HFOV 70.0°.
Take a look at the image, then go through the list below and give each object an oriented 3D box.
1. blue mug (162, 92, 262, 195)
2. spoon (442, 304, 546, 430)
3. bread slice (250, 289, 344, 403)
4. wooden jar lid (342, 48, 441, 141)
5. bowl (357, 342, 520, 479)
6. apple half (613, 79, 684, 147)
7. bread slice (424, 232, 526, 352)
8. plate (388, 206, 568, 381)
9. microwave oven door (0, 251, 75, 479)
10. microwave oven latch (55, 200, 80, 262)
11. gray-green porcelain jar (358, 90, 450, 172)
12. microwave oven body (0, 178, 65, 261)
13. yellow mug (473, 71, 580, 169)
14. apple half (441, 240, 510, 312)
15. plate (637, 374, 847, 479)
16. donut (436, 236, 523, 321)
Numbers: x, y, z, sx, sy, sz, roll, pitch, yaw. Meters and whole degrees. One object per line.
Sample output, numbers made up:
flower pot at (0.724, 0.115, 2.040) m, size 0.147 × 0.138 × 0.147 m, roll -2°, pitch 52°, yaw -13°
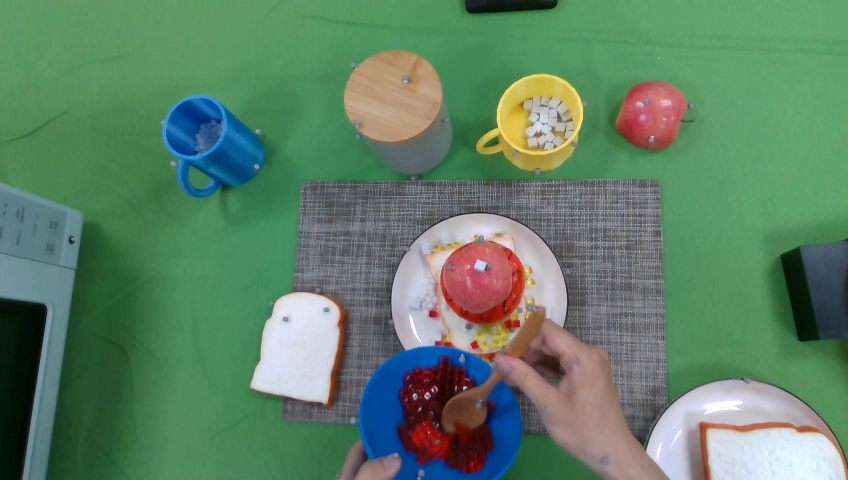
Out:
blue mug at (-0.271, -0.111, 0.763) m, size 0.082 × 0.106 × 0.116 m, roll 21°, pitch 83°, yaw 12°
spoon at (0.063, 0.118, 0.536) m, size 0.041 × 0.195 × 0.021 m, roll 25°, pitch 45°, yaw -1°
bread slice at (-0.154, 0.126, 0.745) m, size 0.104 × 0.019 × 0.131 m, roll 8°, pitch 82°, yaw 9°
wooden jar lid at (-0.035, -0.157, 0.661) m, size 0.108 × 0.021 × 0.108 m, roll -1°, pitch 77°, yaw 6°
bowl at (0.009, 0.182, 0.577) m, size 0.151 × 0.077 × 0.150 m, roll 5°, pitch 46°, yaw -5°
apple half at (0.269, -0.158, 0.721) m, size 0.074 × 0.053 × 0.080 m, roll 23°, pitch 84°, yaw 15°
bread slice at (0.068, 0.064, 0.715) m, size 0.107 × 0.018 × 0.133 m, roll -16°, pitch 77°, yaw 6°
plate at (0.062, 0.065, 0.713) m, size 0.207 × 0.039 × 0.207 m, roll -1°, pitch 80°, yaw 8°
microwave oven door at (-0.499, 0.184, 0.653) m, size 0.039 × 0.245 × 0.354 m, roll 1°, pitch 79°, yaw 9°
microwave oven latch at (-0.473, -0.012, 0.789) m, size 0.030 × 0.029 × 0.079 m, roll 5°, pitch 81°, yaw 9°
gray-green porcelain jar at (-0.024, -0.145, 0.723) m, size 0.106 × 0.127 × 0.105 m, roll -2°, pitch 79°, yaw 8°
microwave oven body at (-0.641, 0.142, 0.686) m, size 0.325 × 0.261 × 0.440 m, roll 1°, pitch 80°, yaw 8°
yellow mug at (0.121, -0.137, 0.732) m, size 0.131 × 0.064 × 0.099 m, roll -22°, pitch 77°, yaw 5°
apple half at (0.055, 0.037, 0.653) m, size 0.081 × 0.033 × 0.081 m, roll -4°, pitch 75°, yaw 15°
plate at (0.332, 0.248, 0.643) m, size 0.209 × 0.038 × 0.208 m, roll -2°, pitch 79°, yaw 9°
donut at (0.063, 0.044, 0.688) m, size 0.099 × 0.048 × 0.098 m, roll -2°, pitch 80°, yaw 9°
